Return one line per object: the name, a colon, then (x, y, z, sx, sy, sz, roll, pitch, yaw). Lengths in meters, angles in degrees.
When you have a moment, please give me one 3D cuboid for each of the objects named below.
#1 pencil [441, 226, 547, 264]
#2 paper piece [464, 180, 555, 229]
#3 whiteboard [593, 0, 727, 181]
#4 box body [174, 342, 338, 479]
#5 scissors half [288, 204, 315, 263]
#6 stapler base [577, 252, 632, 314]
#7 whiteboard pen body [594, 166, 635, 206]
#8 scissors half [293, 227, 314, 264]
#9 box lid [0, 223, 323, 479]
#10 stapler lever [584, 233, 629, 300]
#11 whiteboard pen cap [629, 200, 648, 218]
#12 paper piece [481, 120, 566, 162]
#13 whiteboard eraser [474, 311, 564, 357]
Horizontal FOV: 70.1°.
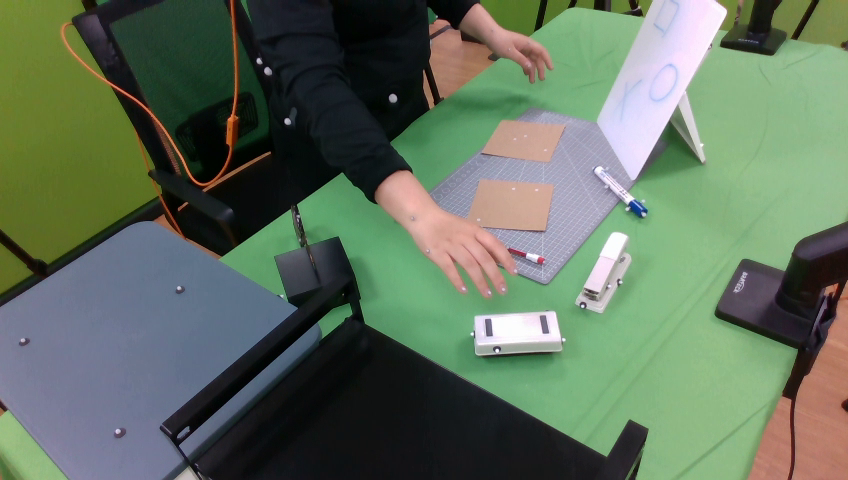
pencil: (0.107, 0.005, 0.959, 0.192, 0.012, 0.012, 19, 47, 31)
paper piece: (0.149, -0.062, 1.035, 0.137, 0.009, 0.136, 5, 37, 17)
whiteboard: (0.453, -0.272, 1.056, 0.144, 0.305, 0.216, 9, 38, -12)
box body: (-0.311, 0.165, 0.720, 0.361, 0.161, 0.255, 23, 49, 32)
scissors half: (-0.191, -0.010, 0.944, 0.013, 0.040, 0.173, -17, 37, -15)
stapler base: (0.264, 0.051, 0.875, 0.041, 0.024, 0.131, 16, 47, 30)
whiteboard pen body: (0.331, -0.085, 1.027, 0.017, 0.017, 0.139, -16, 41, -10)
scissors half: (-0.188, 0.007, 0.954, 0.013, 0.040, 0.174, -22, 22, -12)
box lid: (-0.318, 0.109, 0.671, 0.368, 0.015, 0.264, 24, 49, 31)
stapler lever: (0.261, 0.034, 0.858, 0.026, 0.040, 0.118, 16, 46, 30)
whiteboard pen cap: (0.348, -0.052, 0.983, 0.018, 0.018, 0.033, -18, 42, -12)
paper piece: (0.197, -0.199, 1.188, 0.135, 0.004, 0.135, 11, 44, 21)
whiteboard eraser: (0.123, 0.125, 0.793, 0.112, 0.042, 0.055, -5, 38, 3)
